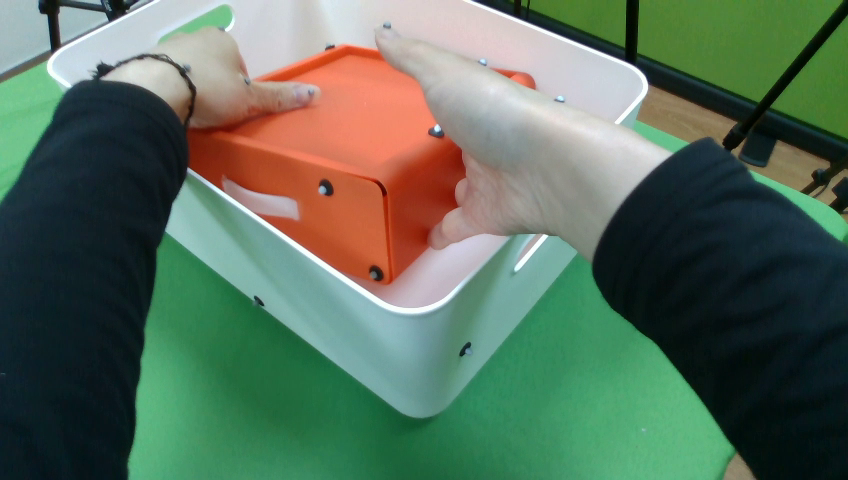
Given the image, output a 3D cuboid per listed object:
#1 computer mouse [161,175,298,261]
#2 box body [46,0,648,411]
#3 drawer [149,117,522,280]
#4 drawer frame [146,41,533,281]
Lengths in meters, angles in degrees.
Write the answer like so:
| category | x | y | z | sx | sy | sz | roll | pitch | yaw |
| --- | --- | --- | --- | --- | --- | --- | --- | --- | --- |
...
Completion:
| category | x | y | z | sx | sy | sz | roll | pitch | yaw |
| --- | --- | --- | --- | --- | --- | --- | --- | --- | --- |
| computer mouse | -0.117 | -0.017 | 0.413 | 0.117 | 0.041 | 0.062 | 3 | 48 | -4 |
| box body | -0.059 | -0.072 | 0.478 | 0.361 | 0.162 | 0.253 | 32 | 58 | 24 |
| drawer | -0.053 | -0.073 | 0.461 | 0.193 | 0.074 | 0.211 | 17 | 35 | 27 |
| drawer frame | -0.053 | -0.078 | 0.460 | 0.200 | 0.083 | 0.213 | 16 | 36 | 26 |
